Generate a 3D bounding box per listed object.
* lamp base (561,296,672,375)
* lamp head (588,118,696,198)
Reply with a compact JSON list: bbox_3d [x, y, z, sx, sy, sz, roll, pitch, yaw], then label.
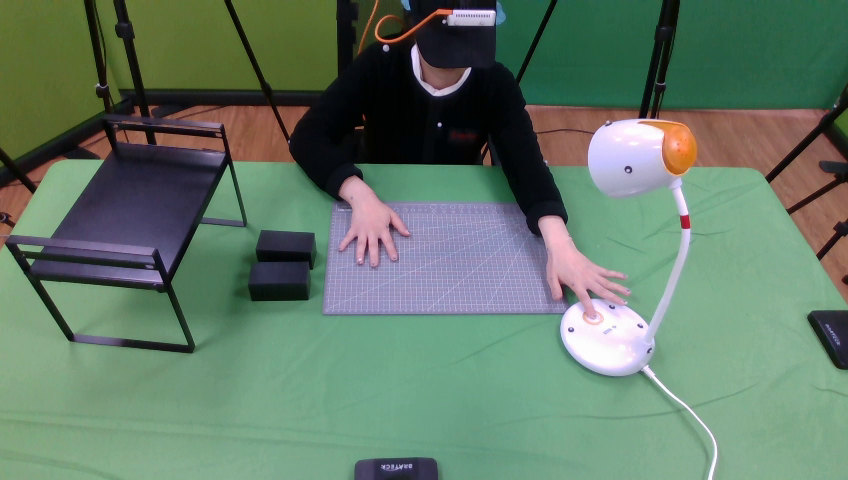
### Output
[{"bbox_3d":[0.332,0.119,0.996,0.160,0.181,0.178,-34,59,-30],"label":"lamp base"},{"bbox_3d":[0.304,-0.113,0.823,0.112,0.112,0.122,-26,16,-26],"label":"lamp head"}]
